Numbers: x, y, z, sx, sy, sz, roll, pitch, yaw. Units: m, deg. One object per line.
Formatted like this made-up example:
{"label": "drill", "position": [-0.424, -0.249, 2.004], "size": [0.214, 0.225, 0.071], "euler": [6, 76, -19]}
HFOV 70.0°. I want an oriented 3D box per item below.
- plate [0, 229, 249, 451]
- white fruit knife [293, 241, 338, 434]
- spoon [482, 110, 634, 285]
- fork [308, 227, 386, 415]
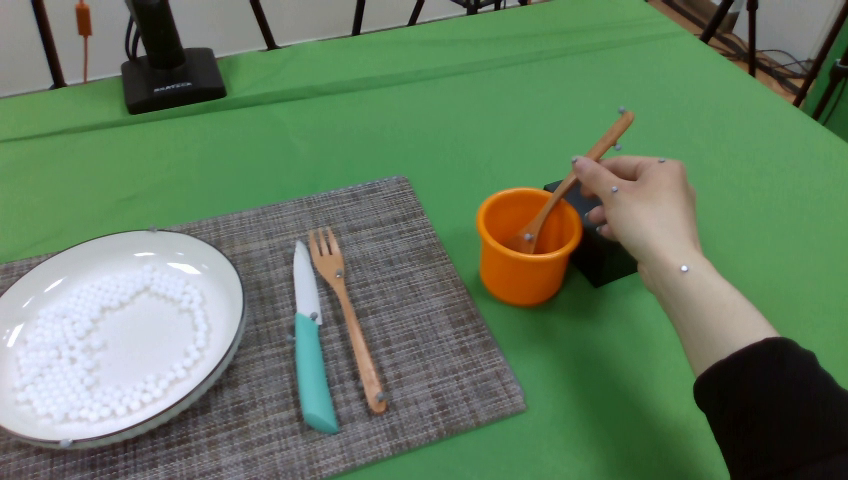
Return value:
{"label": "plate", "position": [-0.247, 0.077, 0.495], "size": [0.209, 0.038, 0.207], "euler": [1, 46, 0]}
{"label": "white fruit knife", "position": [-0.100, 0.072, 0.520], "size": [0.027, 0.016, 0.205], "euler": [15, 36, -30]}
{"label": "spoon", "position": [0.118, -0.036, 0.536], "size": [0.022, 0.194, 0.041], "euler": [19, 24, -46]}
{"label": "fork", "position": [-0.068, 0.061, 0.526], "size": [0.028, 0.019, 0.205], "euler": [-6, 44, -23]}
